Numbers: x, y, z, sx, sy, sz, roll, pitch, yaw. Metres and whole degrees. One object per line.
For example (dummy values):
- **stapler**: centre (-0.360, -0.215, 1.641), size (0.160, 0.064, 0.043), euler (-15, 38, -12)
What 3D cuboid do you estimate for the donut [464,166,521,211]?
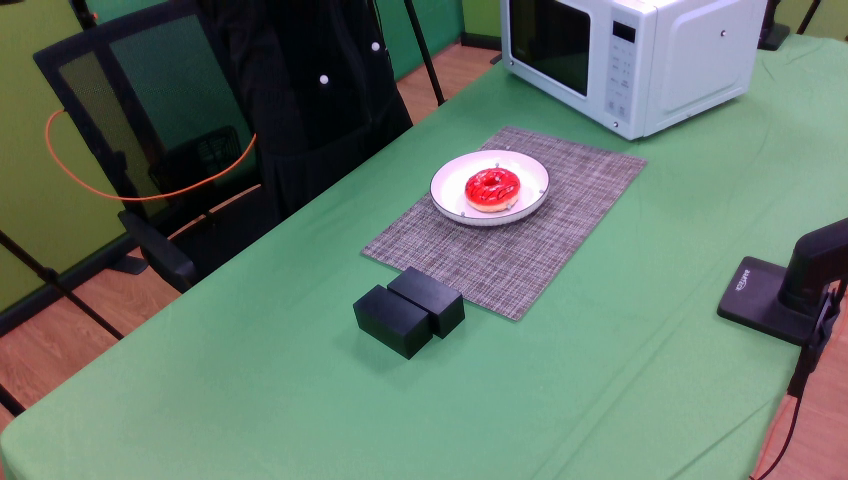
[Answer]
- **donut**: centre (0.117, -0.089, 1.031), size (0.099, 0.048, 0.098), euler (-7, 41, 7)

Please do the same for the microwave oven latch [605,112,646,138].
- **microwave oven latch**: centre (0.375, -0.217, 1.130), size (0.030, 0.029, 0.078), euler (-24, 42, -16)

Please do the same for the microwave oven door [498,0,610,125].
- **microwave oven door**: centre (0.261, -0.410, 1.219), size (0.039, 0.245, 0.352), euler (-24, 42, -17)

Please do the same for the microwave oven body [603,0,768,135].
- **microwave oven body**: centre (0.410, -0.441, 1.235), size (0.327, 0.261, 0.437), euler (-25, 42, -16)

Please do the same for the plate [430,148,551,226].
- **plate**: centre (0.114, -0.089, 1.049), size (0.209, 0.038, 0.208), euler (-5, 40, 5)
